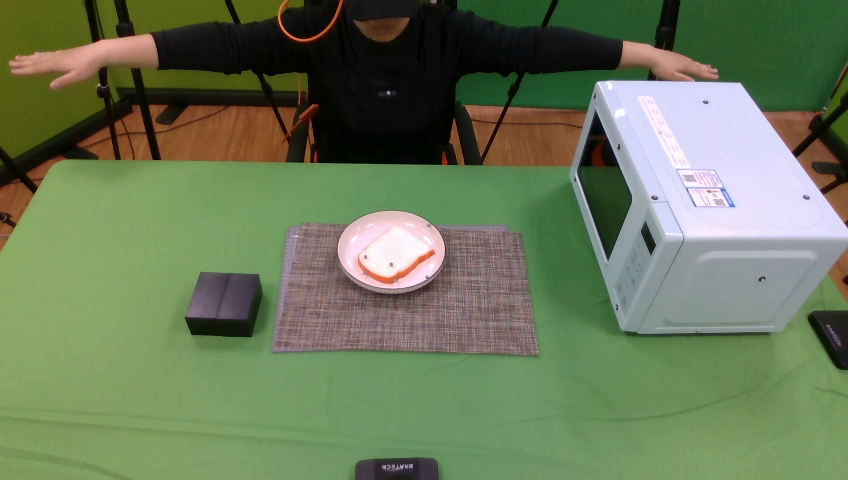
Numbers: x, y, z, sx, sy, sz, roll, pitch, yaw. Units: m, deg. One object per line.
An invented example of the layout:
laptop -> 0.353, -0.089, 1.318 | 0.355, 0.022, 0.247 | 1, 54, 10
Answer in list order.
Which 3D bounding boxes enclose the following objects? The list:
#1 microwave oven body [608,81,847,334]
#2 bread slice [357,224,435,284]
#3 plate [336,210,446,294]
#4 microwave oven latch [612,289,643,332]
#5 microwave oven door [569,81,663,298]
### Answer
microwave oven body -> 0.501, -0.070, 1.132 | 0.326, 0.261, 0.438 | 0, 45, -3
bread slice -> -0.059, 0.028, 1.153 | 0.104, 0.019, 0.131 | 34, 53, 26
plate -> -0.062, 0.026, 1.153 | 0.209, 0.038, 0.208 | 3, 46, -2
microwave oven latch -> 0.357, 0.124, 1.068 | 0.030, 0.029, 0.078 | 0, 45, -3
microwave oven door -> 0.353, -0.104, 1.147 | 0.039, 0.245, 0.353 | 0, 46, -4
